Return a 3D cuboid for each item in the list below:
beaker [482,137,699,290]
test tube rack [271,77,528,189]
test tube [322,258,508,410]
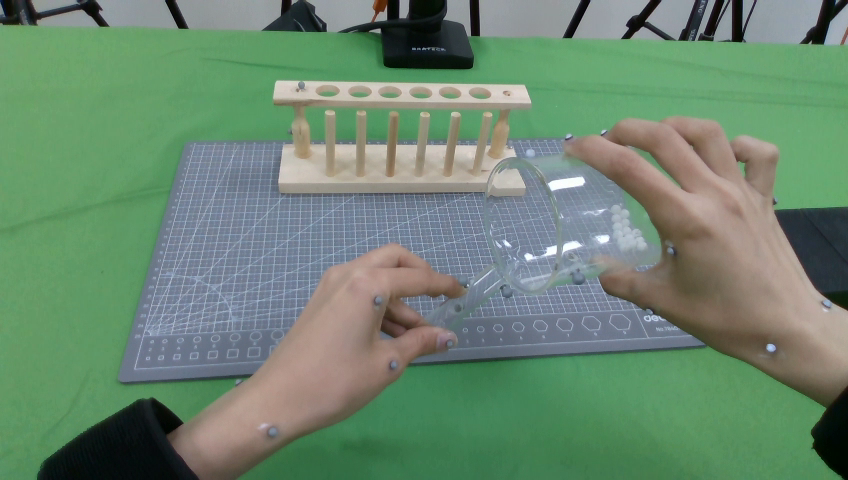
[{"bbox_3d":[0.093,-0.016,0.339,0.100,0.084,0.073,-11,57,-21],"label":"beaker"},{"bbox_3d":[-0.022,-0.104,0.594,0.243,0.086,0.066,-1,44,-7],"label":"test tube rack"},{"bbox_3d":[-0.009,0.061,0.374,0.017,0.150,0.017,43,19,-19],"label":"test tube"}]
